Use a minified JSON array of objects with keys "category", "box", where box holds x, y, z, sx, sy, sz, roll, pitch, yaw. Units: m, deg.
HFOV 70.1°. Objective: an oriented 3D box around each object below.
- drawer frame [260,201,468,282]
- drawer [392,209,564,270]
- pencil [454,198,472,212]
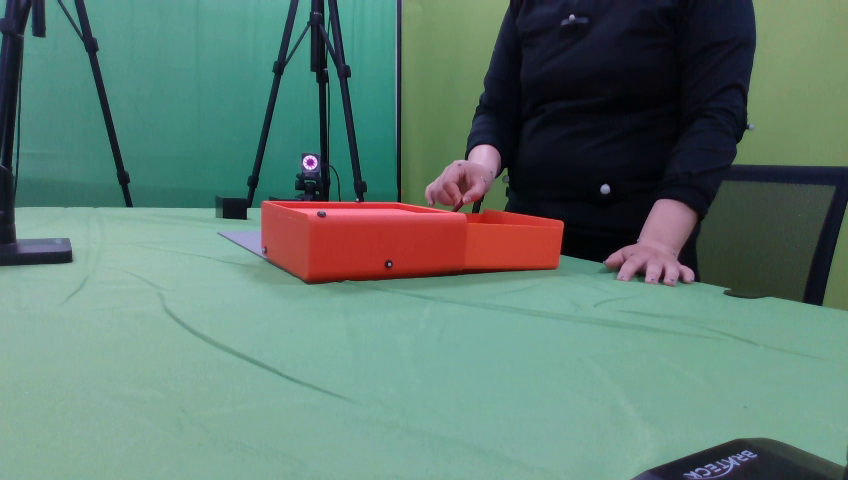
[{"category":"drawer frame","box":[-0.084,-0.006,0.794,0.215,0.082,0.200,-2,9,-30]},{"category":"drawer","box":[0.059,-0.006,0.880,0.213,0.073,0.193,1,9,-31]},{"category":"pencil","box":[0.036,-0.032,0.902,0.012,0.012,0.194,6,24,24]}]
